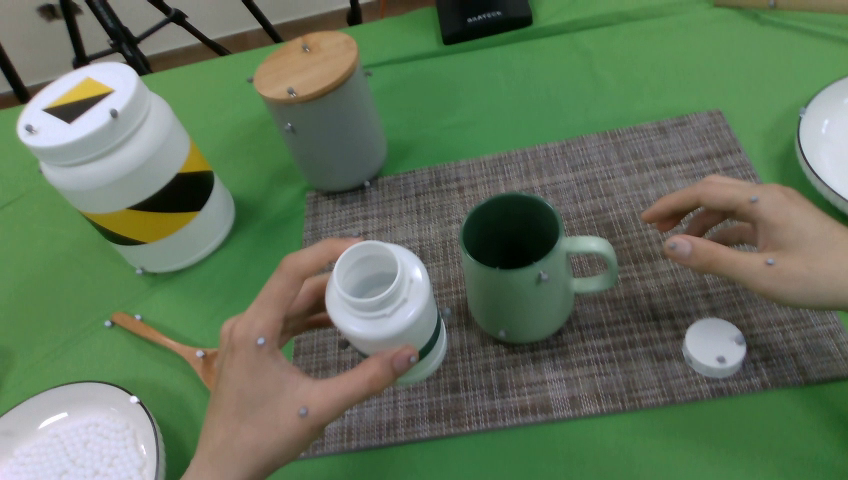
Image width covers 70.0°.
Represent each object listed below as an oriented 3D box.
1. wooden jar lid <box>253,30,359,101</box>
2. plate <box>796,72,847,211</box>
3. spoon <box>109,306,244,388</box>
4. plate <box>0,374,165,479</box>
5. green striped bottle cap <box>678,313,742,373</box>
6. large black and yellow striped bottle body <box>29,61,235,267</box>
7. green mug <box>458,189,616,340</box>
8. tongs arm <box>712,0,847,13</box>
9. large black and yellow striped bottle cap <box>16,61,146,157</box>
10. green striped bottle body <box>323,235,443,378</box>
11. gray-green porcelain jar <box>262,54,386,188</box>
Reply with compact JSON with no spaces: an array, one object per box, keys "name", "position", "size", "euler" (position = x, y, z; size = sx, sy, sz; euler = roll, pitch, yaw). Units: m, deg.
[{"name":"wooden jar lid","position":[-0.114,-0.169,0.598],"size":[0.108,0.021,0.107],"euler":[-9,50,11]},{"name":"plate","position":[0.438,-0.077,0.527],"size":[0.207,0.039,0.205],"euler":[-7,52,9]},{"name":"spoon","position":[-0.241,0.093,0.578],"size":[0.192,0.022,0.041],"euler":[18,78,25]},{"name":"plate","position":[-0.305,0.211,0.492],"size":[0.209,0.038,0.207],"euler":[-7,52,9]},{"name":"green striped bottle cap","position":[0.222,0.079,0.471],"size":[0.044,0.020,0.044],"euler":[-7,52,9]},{"name":"large black and yellow striped bottle body","position":[-0.291,-0.072,0.613],"size":[0.130,0.186,0.129],"euler":[-7,52,9]},{"name":"green mug","position":[0.091,0.021,0.491],"size":[0.125,0.106,0.091],"euler":[-3,52,12]},{"name":"tongs arm","position":[0.490,-0.244,0.614],"size":[0.384,0.028,0.028],"euler":[21,54,37]},{"name":"large black and yellow striped bottle cap","position":[-0.309,-0.121,0.548],"size":[0.115,0.019,0.114],"euler":[-7,51,8]},{"name":"green striped bottle body","position":[-0.024,0.041,0.382],"size":[0.063,0.120,0.062],"euler":[-3,62,6]},{"name":"gray-green porcelain jar","position":[-0.102,-0.128,0.644],"size":[0.106,0.128,0.105],"euler":[-7,48,9]}]
